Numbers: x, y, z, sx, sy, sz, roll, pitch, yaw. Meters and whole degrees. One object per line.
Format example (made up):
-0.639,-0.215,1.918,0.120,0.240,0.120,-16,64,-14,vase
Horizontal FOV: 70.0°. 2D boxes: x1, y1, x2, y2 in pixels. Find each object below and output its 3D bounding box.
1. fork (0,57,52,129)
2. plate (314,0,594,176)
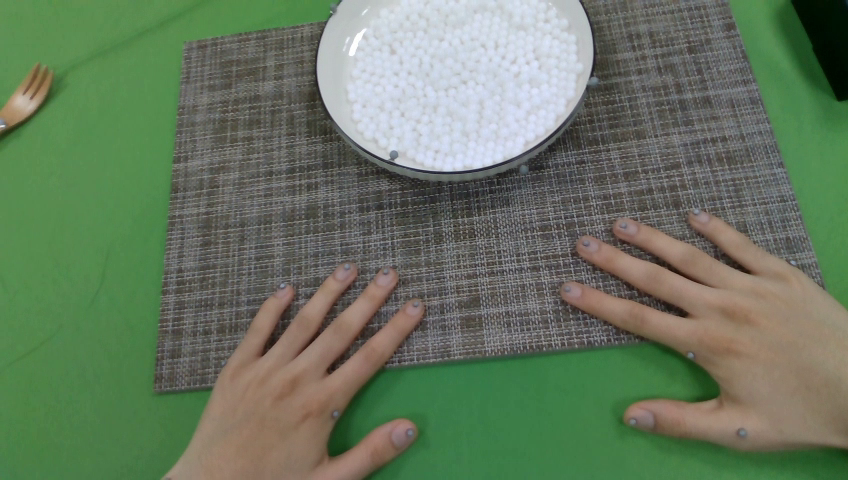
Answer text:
-0.381,-0.070,0.502,0.028,0.019,0.207,31,74,6,fork
0.021,-0.138,0.462,0.209,0.038,0.207,-3,69,7,plate
